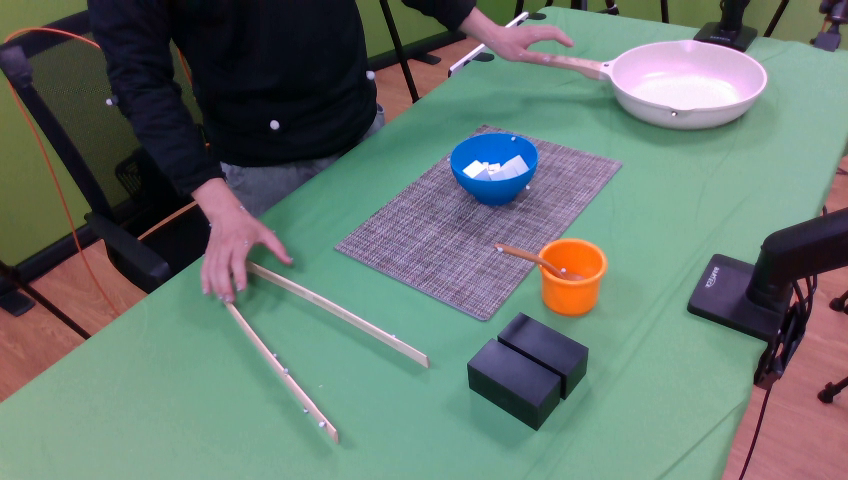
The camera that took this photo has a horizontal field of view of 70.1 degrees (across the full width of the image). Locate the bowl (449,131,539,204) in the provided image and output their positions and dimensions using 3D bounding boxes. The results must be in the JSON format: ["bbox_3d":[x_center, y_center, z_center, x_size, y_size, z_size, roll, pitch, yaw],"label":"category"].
[{"bbox_3d":[0.121,-0.114,1.034,0.151,0.077,0.150,-4,41,4],"label":"bowl"}]

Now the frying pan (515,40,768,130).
[{"bbox_3d":[0.423,-0.337,1.236,0.486,0.103,0.307,16,44,13],"label":"frying pan"}]

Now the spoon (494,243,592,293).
[{"bbox_3d":[0.162,0.034,0.808,0.021,0.195,0.041,-47,40,21],"label":"spoon"}]

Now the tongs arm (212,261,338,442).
[{"bbox_3d":[-0.208,0.136,0.830,0.051,0.026,0.381,-31,45,-28],"label":"tongs arm"}]

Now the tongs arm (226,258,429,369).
[{"bbox_3d":[-0.150,0.098,0.873,0.384,0.028,0.028,22,50,30],"label":"tongs arm"}]
